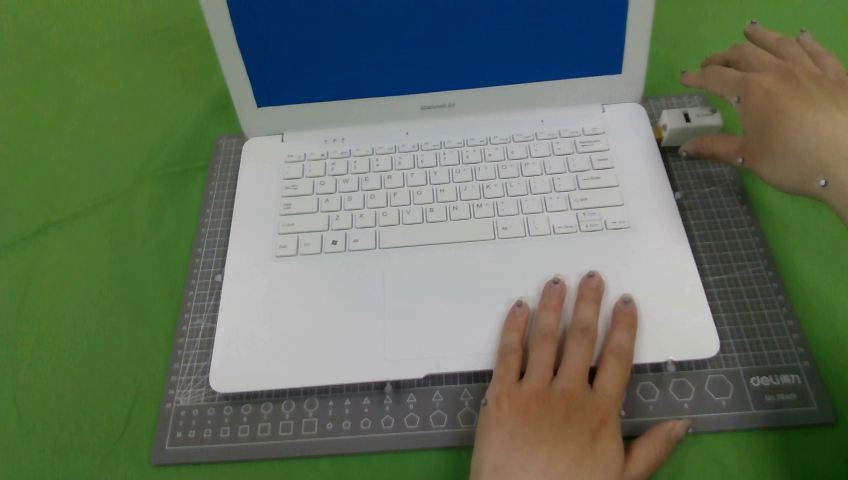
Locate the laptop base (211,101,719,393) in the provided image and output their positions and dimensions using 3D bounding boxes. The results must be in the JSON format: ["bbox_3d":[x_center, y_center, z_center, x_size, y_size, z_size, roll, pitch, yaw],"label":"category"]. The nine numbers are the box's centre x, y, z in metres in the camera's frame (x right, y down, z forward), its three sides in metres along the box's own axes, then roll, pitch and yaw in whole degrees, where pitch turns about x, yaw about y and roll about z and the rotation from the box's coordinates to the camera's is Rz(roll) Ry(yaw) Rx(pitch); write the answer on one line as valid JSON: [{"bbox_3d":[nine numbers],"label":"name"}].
[{"bbox_3d":[0.021,-0.004,0.477,0.354,0.023,0.233,-5,61,3],"label":"laptop base"}]

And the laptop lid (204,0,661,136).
[{"bbox_3d":[0.006,-0.193,0.464,0.356,0.244,0.013,-6,40,4],"label":"laptop lid"}]

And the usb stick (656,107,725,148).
[{"bbox_3d":[0.214,-0.092,0.501,0.059,0.027,0.021,-6,63,6],"label":"usb stick"}]
